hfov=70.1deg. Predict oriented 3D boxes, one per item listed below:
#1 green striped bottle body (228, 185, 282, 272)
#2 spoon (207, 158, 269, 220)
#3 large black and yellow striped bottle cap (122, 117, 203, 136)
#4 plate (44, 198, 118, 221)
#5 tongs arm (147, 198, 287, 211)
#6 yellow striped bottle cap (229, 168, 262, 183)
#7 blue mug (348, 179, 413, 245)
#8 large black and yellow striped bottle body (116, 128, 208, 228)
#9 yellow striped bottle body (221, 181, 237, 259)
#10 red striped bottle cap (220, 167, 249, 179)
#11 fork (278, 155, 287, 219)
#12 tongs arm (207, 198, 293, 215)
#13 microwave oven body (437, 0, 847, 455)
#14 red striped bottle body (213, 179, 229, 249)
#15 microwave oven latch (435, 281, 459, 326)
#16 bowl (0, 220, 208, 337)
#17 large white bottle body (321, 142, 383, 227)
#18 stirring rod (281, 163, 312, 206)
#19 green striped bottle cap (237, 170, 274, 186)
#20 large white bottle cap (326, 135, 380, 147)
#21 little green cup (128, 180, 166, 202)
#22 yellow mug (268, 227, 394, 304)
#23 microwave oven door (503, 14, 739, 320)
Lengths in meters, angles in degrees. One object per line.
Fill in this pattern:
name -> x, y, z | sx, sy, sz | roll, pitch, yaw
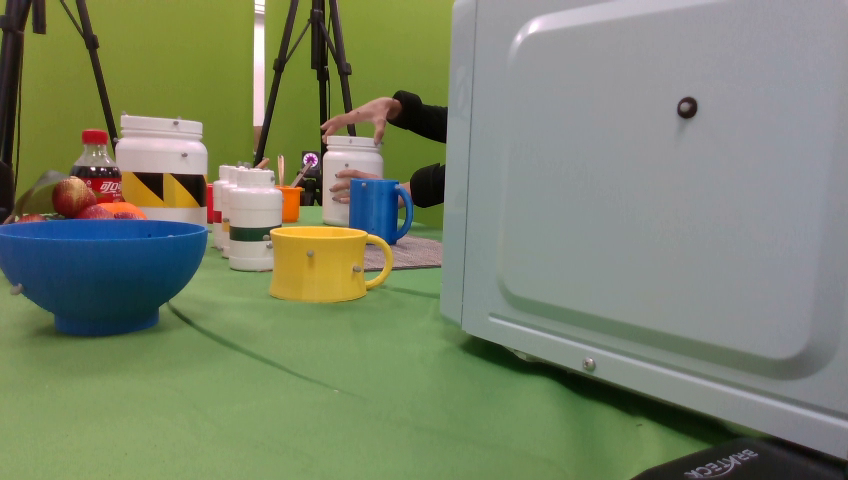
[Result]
green striped bottle body -> -0.208, -0.023, 0.745 | 0.063, 0.119, 0.063 | 2, 7, 0
spoon -> -0.380, -0.108, 1.251 | 0.041, 0.022, 0.194 | 4, 51, 38
large black and yellow striped bottle cap -> -0.399, -0.174, 0.927 | 0.115, 0.019, 0.115 | 5, 9, -1
plate -> -0.617, -0.056, 1.179 | 0.209, 0.038, 0.209 | 3, 7, 0
tongs arm -> -0.504, -0.091, 1.513 | 0.028, 0.028, 0.389 | -1, 4, 37
yellow striped bottle cap -> -0.240, -0.087, 0.816 | 0.044, 0.018, 0.044 | -3, 5, 1
blue mug -> -0.071, -0.047, 1.002 | 0.116, 0.106, 0.082 | 7, 9, 26
large black and yellow striped bottle body -> -0.404, -0.089, 0.937 | 0.131, 0.184, 0.130 | 3, 7, 0
yellow striped bottle body -> -0.244, -0.036, 0.824 | 0.063, 0.120, 0.063 | 2, 8, 0
red striped bottle cap -> -0.281, -0.099, 0.901 | 0.044, 0.017, 0.044 | -1, 5, 0
fork -> -0.318, -0.120, 1.342 | 0.028, 0.018, 0.206 | 0, 52, -13
tongs arm -> -0.423, -0.084, 1.472 | 0.050, 0.026, 0.386 | 2, 6, 21
microwave oven body -> 0.279, -0.040, 0.464 | 0.444, 0.260, 0.324 | -3, 8, -41
red striped bottle body -> -0.284, -0.048, 0.909 | 0.063, 0.119, 0.063 | 3, 10, 0
microwave oven latch -> 0.044, 0.046, 0.470 | 0.079, 0.029, 0.030 | -3, 8, -40
bowl -> -0.251, 0.029, 0.479 | 0.151, 0.077, 0.151 | 2, 7, 0
large white bottle body -> -0.154, -0.125, 1.301 | 0.131, 0.184, 0.130 | 2, 8, 0
stirring rod -> -0.292, -0.111, 1.324 | 0.014, 0.006, 0.176 | 2, 48, 29
green striped bottle cap -> -0.205, -0.075, 0.737 | 0.044, 0.020, 0.044 | 1, 6, 0
large white bottle cap -> -0.150, -0.210, 1.289 | 0.115, 0.018, 0.115 | 4, 7, 0
little green cup -> -0.485, -0.087, 1.062 | 0.061, 0.038, 0.061 | -1, 6, 0
yellow mug -> -0.094, 0.023, 0.630 | 0.131, 0.064, 0.099 | 0, 8, -22
microwave oven door -> 0.217, -0.065, 0.601 | 0.358, 0.243, 0.039 | -4, 10, -41
